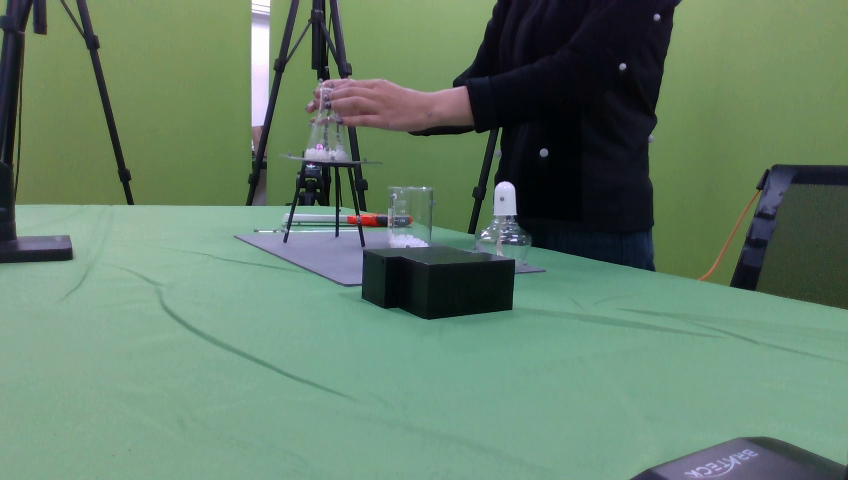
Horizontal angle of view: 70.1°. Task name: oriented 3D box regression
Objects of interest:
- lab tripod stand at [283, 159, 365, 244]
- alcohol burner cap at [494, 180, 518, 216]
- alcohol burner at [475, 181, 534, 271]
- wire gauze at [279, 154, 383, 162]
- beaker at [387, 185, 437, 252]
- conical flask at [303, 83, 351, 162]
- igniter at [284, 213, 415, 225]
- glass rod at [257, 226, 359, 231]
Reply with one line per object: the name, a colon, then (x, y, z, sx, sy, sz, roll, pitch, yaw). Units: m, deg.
lab tripod stand: (-0.151, -0.063, 0.983, 0.148, 0.131, 0.148, 4, 7, 0)
alcohol burner cap: (0.108, -0.055, 0.800, 0.034, 0.048, 0.034, -2, 4, 0)
alcohol burner: (0.108, -0.020, 0.804, 0.078, 0.119, 0.078, 3, 5, 0)
wire gauze: (-0.149, -0.128, 0.974, 0.124, 0.011, 0.122, 6, 5, 41)
beaker: (-0.023, -0.035, 0.941, 0.074, 0.100, 0.083, -3, 8, -38)
conical flask: (-0.151, -0.186, 0.963, 0.075, 0.122, 0.075, 4, 6, 0)
igniter: (-0.154, -0.045, 1.282, 0.278, 0.025, 0.057, 0, -3, -20)
glass rod: (-0.216, -0.022, 1.151, 0.201, 0.008, 0.008, -2, 8, -28)
